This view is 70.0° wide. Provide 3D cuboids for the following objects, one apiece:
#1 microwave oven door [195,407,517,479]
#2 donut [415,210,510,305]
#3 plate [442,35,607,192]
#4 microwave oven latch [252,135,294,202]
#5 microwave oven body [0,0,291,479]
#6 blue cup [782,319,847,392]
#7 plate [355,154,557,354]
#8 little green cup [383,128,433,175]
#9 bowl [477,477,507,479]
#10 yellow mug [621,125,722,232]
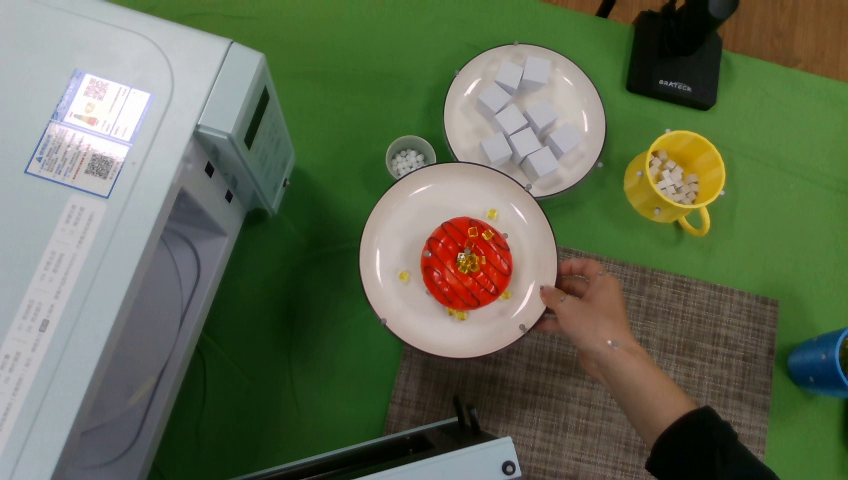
[{"bbox_3d":[-0.113,0.218,0.540,0.356,0.244,0.039,-13,79,-8],"label":"microwave oven door"},{"bbox_3d":[0.039,0.018,0.622,0.099,0.048,0.098,1,83,-5],"label":"donut"},{"bbox_3d":[0.124,-0.156,0.766,0.208,0.039,0.206,1,78,-6],"label":"plate"},{"bbox_3d":[-0.176,-0.086,0.700,0.030,0.029,0.079,21,78,-2],"label":"microwave oven latch"},{"bbox_3d":[-0.357,0.015,0.562,0.326,0.261,0.440,17,78,-2],"label":"microwave oven body"},{"bbox_3d":[0.479,0.137,0.708,0.093,0.100,0.092,2,76,-7],"label":"blue cup"},{"bbox_3d":[0.032,0.014,0.634,0.209,0.038,0.208,1,80,-4],"label":"plate"},{"bbox_3d":[-0.020,-0.101,0.737,0.061,0.039,0.061,1,80,-3],"label":"little green cup"},{"bbox_3d":[0.065,0.324,0.639,0.151,0.077,0.150,1,78,-5],"label":"bowl"},{"bbox_3d":[0.313,-0.071,0.753,0.100,0.064,0.130,-23,82,-10],"label":"yellow mug"}]
